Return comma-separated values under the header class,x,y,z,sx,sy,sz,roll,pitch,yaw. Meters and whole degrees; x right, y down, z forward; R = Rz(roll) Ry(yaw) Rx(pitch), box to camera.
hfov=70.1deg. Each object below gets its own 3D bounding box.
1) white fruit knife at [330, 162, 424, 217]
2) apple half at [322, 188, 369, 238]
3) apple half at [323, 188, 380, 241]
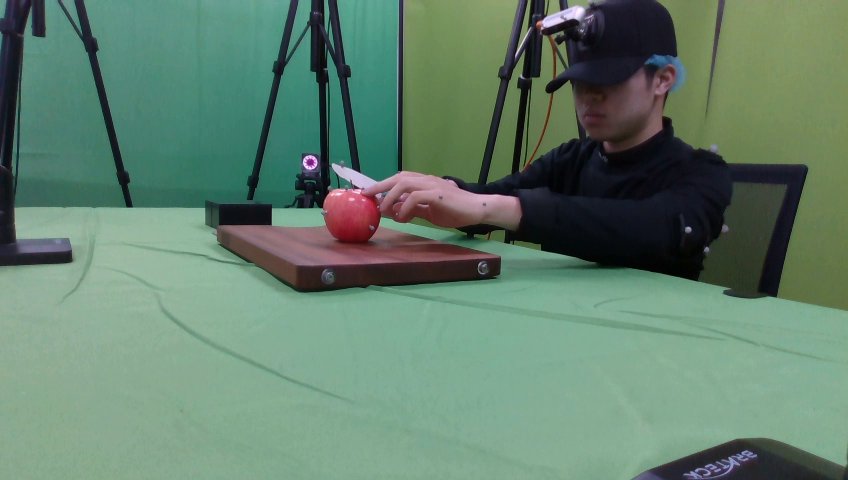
class,x,y,z,sx,sy,sz,roll,pitch,yaw
white fruit knife,-0.064,-0.076,0.896,0.016,0.027,0.208,-4,-17,37
apple half,-0.119,-0.040,0.867,0.082,0.081,0.032,-4,14,-41
apple half,-0.094,-0.034,0.840,0.081,0.074,0.053,2,11,-42
